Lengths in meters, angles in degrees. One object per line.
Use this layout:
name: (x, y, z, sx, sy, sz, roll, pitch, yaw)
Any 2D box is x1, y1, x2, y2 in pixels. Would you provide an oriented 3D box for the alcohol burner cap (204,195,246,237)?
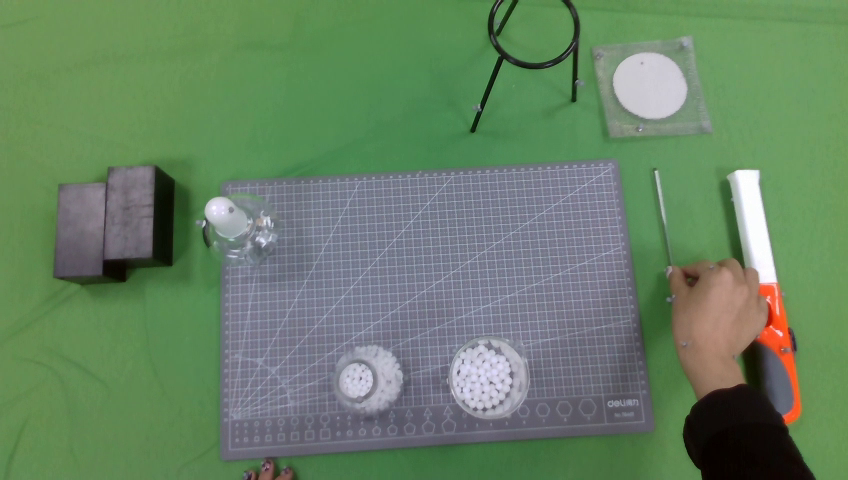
alcohol burner cap: (-0.192, -0.025, 0.580, 0.034, 0.048, 0.033, 1, 70, -2)

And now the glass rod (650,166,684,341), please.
glass rod: (0.269, 0.012, 0.672, 0.008, 0.008, 0.198, -4, 78, -2)

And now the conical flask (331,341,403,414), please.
conical flask: (-0.060, 0.132, 0.583, 0.075, 0.122, 0.075, 0, 78, 0)

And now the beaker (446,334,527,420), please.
beaker: (0.060, 0.131, 0.596, 0.074, 0.100, 0.084, 43, 81, 8)

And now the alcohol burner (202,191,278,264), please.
alcohol burner: (-0.192, -0.016, 0.615, 0.078, 0.119, 0.077, 0, 79, 2)

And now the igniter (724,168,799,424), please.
igniter: (0.363, 0.055, 0.654, 0.057, 0.025, 0.275, -1, 78, -12)

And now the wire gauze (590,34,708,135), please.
wire gauze: (0.264, -0.181, 0.710, 0.125, 0.011, 0.121, -5, 79, -3)

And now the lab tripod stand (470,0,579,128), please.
lab tripod stand: (0.104, -0.194, 0.647, 0.148, 0.132, 0.148, 0, 80, -1)
